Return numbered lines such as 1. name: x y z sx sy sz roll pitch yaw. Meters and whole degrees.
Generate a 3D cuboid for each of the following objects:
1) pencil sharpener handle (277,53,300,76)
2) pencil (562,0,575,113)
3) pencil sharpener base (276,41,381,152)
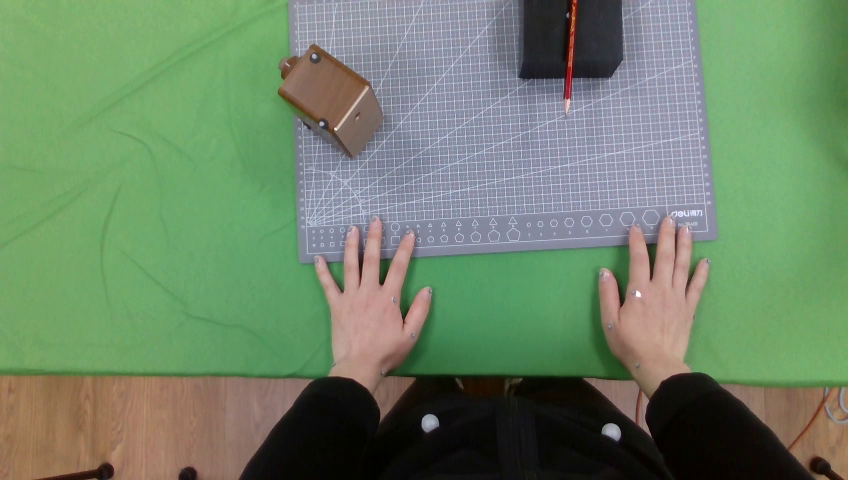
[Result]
1. pencil sharpener handle: -0.137 -0.177 0.613 0.030 0.068 0.036 36 96 6
2. pencil: 0.148 -0.223 0.614 0.012 0.012 0.193 4 85 3
3. pencil sharpener base: -0.096 -0.144 0.621 0.076 0.107 0.061 36 88 6
